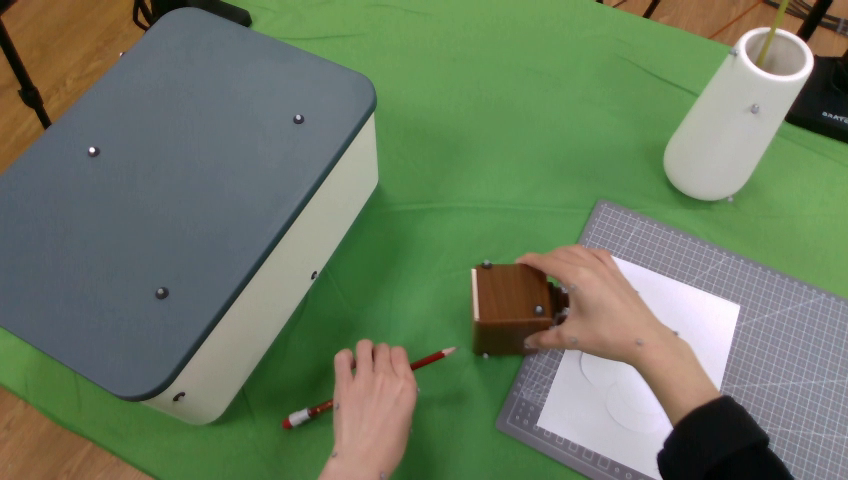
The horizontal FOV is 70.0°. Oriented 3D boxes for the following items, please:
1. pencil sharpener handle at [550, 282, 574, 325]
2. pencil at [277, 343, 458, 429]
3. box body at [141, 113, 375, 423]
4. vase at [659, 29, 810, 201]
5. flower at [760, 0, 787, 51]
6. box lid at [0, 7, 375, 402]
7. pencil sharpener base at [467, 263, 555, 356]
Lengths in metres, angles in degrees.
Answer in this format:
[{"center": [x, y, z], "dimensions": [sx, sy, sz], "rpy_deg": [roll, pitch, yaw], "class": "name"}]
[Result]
[{"center": [0.133, 0.064, 0.582], "dimensions": [0.030, 0.068, 0.035], "rpy_deg": [-2, 59, 1], "class": "pencil sharpener handle"}, {"center": [-0.055, 0.142, 0.597], "dimensions": [0.194, 0.012, 0.012], "rpy_deg": [-24, 64, -1], "class": "pencil"}, {"center": [-0.237, -0.027, 0.625], "dimensions": [0.253, 0.161, 0.362], "rpy_deg": [24, 65, 13], "class": "box body"}, {"center": [0.327, -0.128, 0.653], "dimensions": [0.098, 0.201, 0.097], "rpy_deg": [-1, 61, 1], "class": "vase"}, {"center": [0.326, -0.180, 0.586], "dimensions": [0.044, 0.365, 0.038], "rpy_deg": [18, 46, 14], "class": "flower"}, {"center": [-0.237, -0.064, 0.559], "dimensions": [0.262, 0.015, 0.370], "rpy_deg": [25, 65, 12], "class": "box lid"}, {"center": [0.083, 0.070, 0.594], "dimensions": [0.077, 0.108, 0.061], "rpy_deg": [-2, 63, 1], "class": "pencil sharpener base"}]
